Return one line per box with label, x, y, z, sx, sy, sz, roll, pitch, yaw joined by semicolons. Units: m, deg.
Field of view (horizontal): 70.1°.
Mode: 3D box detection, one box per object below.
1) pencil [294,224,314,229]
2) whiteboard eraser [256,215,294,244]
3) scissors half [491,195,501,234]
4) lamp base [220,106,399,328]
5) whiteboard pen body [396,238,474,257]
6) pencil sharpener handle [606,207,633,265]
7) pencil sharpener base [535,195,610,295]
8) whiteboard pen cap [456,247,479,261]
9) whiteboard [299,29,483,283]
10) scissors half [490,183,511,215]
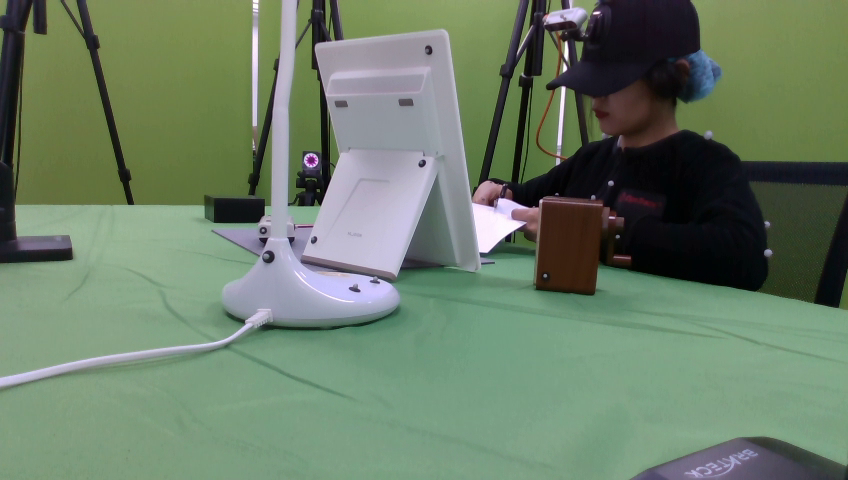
pencil;-0.221;-0.028;1.211;0.195;0.012;0.012;-5;10;-34
whiteboard eraser;-0.232;-0.016;0.951;0.056;0.042;0.112;2;7;-12
scissors half;0.133;-0.049;1.123;0.013;0.040;0.175;19;-16;12
lamp base;-0.101;-0.023;0.531;0.160;0.180;0.179;4;10;10
whiteboard pen body;0.014;0.012;0.886;0.140;0.017;0.017;9;10;38
pencil sharpener handle;0.223;-0.004;0.683;0.030;0.068;0.036;5;21;16
pencil sharpener base;0.172;0.005;0.695;0.076;0.107;0.061;5;7;16
whiteboard pen cap;0.060;0.020;0.851;0.033;0.018;0.018;9;10;37
whiteboard;-0.074;-0.082;0.742;0.216;0.305;0.144;9;30;38
scissors half;0.141;-0.073;1.122;0.013;0.040;0.175;15;24;13
